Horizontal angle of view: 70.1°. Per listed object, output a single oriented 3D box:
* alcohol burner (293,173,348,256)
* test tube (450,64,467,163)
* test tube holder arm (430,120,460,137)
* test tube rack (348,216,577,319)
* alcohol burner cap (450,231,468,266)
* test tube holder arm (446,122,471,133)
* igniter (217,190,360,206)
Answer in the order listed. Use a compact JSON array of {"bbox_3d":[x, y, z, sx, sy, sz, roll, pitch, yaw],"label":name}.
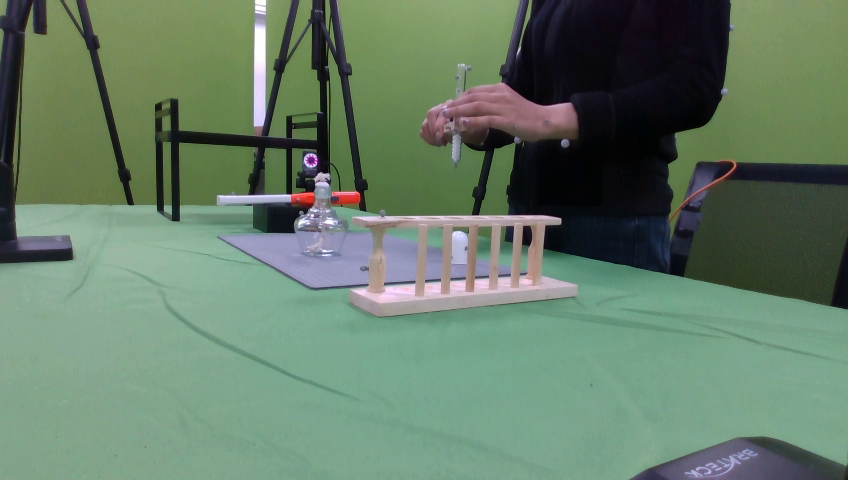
[{"bbox_3d":[-0.147,-0.036,0.859,0.078,0.119,0.078,4,8,0],"label":"alcohol burner"},{"bbox_3d":[0.053,-0.195,0.932,0.017,0.150,0.017,4,6,0],"label":"test tube"},{"bbox_3d":[0.032,-0.183,0.996,0.013,0.015,0.178,8,4,-14],"label":"test tube holder arm"},{"bbox_3d":[0.048,0.021,0.619,0.244,0.085,0.066,-2,9,-31],"label":"test tube rack"},{"bbox_3d":[0.046,0.011,0.838,0.034,0.048,0.034,2,6,0],"label":"alcohol burner cap"},{"bbox_3d":[0.050,-0.177,0.955,0.010,0.015,0.087,7,4,-23],"label":"test tube holder arm"},{"bbox_3d":[-0.248,-0.080,1.150,0.278,0.025,0.057,-5,7,-29],"label":"igniter"}]
